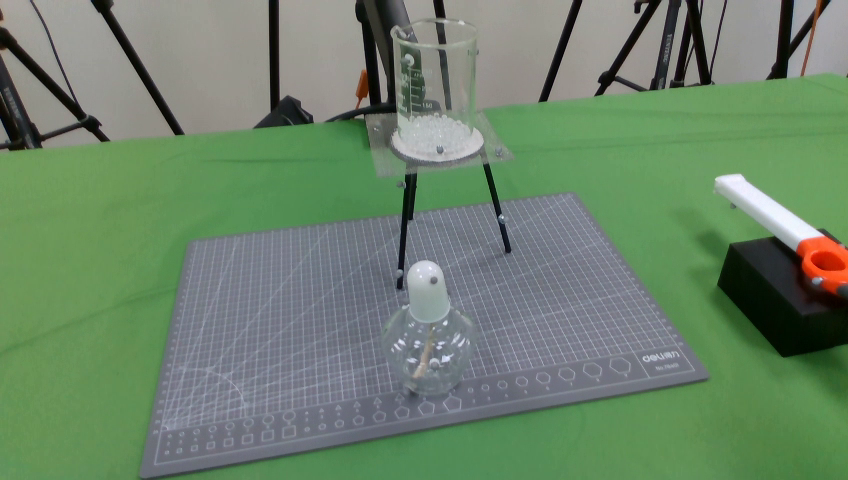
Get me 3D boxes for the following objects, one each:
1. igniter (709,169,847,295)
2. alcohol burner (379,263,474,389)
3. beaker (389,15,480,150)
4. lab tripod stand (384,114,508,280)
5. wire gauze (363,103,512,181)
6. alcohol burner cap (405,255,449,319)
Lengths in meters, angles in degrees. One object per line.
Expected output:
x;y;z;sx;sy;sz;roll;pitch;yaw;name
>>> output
0.346;0.005;0.536;0.057;0.025;0.273;-9;34;-8;igniter
0.002;0.061;0.477;0.078;0.120;0.077;0;39;1;alcohol burner
0.006;-0.138;0.534;0.074;0.101;0.083;-31;45;-34;beaker
0.014;-0.048;0.605;0.148;0.132;0.147;0;36;0;lab tripod stand
0.008;-0.098;0.562;0.121;0.011;0.123;-8;39;-7;wire gauze
0.001;0.032;0.455;0.034;0.048;0.033;-3;41;3;alcohol burner cap
